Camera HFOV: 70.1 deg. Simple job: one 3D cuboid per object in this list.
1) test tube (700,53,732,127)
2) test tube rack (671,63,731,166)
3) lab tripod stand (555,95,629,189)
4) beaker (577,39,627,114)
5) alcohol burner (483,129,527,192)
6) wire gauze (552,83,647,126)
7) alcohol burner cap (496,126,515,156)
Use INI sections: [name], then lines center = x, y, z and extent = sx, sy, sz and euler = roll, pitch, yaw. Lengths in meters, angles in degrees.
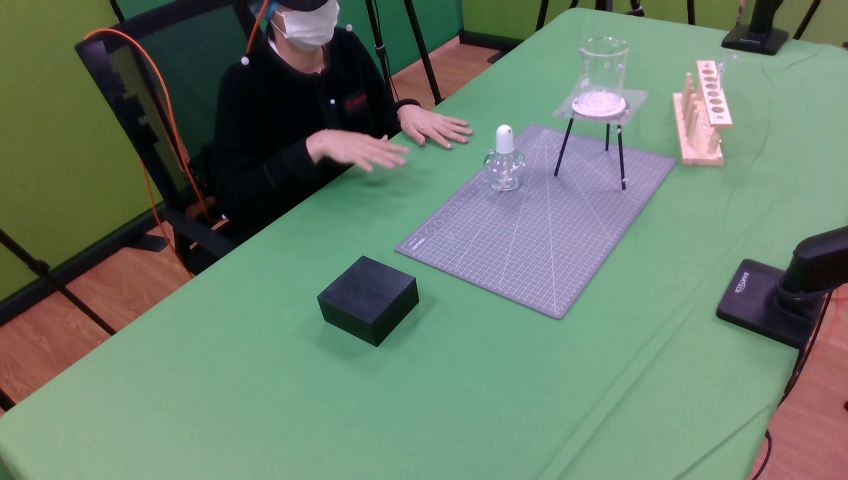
[test tube]
center = 0.521, -0.265, 1.081
extent = 0.017, 0.151, 0.017
euler = -3, 47, 3
[test tube rack]
center = 0.513, -0.241, 1.132
extent = 0.066, 0.085, 0.242
euler = 4, 41, 14
[lab tripod stand]
center = 0.300, -0.174, 1.045
extent = 0.148, 0.132, 0.147
euler = -5, 38, 5
[beaker]
center = 0.286, -0.264, 0.976
extent = 0.073, 0.100, 0.084
euler = 25, 49, 33
[alcohol burner]
center = 0.141, -0.144, 1.050
extent = 0.078, 0.119, 0.077
euler = -4, 42, 4
[wire gauze]
center = 0.293, -0.224, 1.004
extent = 0.120, 0.011, 0.125
euler = 19, 43, 26
[alcohol burner cap]
center = 0.138, -0.172, 1.028
extent = 0.034, 0.048, 0.033
euler = -5, 38, 5
